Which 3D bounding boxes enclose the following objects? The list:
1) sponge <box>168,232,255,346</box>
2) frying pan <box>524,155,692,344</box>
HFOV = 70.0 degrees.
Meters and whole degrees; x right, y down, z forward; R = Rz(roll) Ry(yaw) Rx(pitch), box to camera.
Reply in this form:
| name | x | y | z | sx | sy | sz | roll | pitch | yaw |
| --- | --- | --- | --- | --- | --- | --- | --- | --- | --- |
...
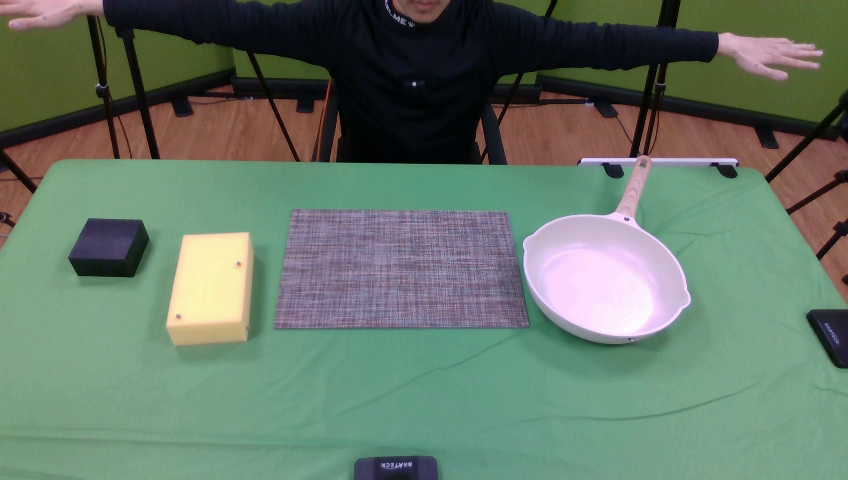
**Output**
| name | x | y | z | sx | sy | sz | roll | pitch | yaw |
| --- | --- | --- | --- | --- | --- | --- | --- | --- | --- |
| sponge | -0.368 | 0.081 | 1.065 | 0.118 | 0.061 | 0.205 | -4 | 46 | -7 |
| frying pan | 0.372 | -0.002 | 1.167 | 0.306 | 0.103 | 0.486 | 22 | 57 | 16 |
